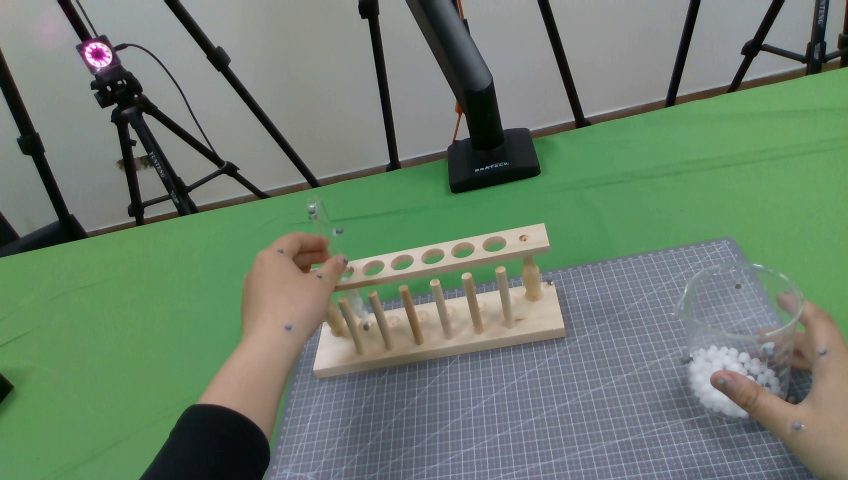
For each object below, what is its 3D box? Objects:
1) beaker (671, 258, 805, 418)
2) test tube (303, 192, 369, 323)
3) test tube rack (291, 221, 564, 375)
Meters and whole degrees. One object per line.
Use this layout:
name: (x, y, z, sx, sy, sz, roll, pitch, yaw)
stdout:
beaker: (0.225, 0.075, 0.442, 0.084, 0.101, 0.073, -12, 36, 11)
test tube: (-0.080, 0.021, 0.570, 0.017, 0.151, 0.017, -12, 34, 9)
test tube rack: (0.002, 0.057, 0.572, 0.242, 0.086, 0.066, -11, 36, 9)
